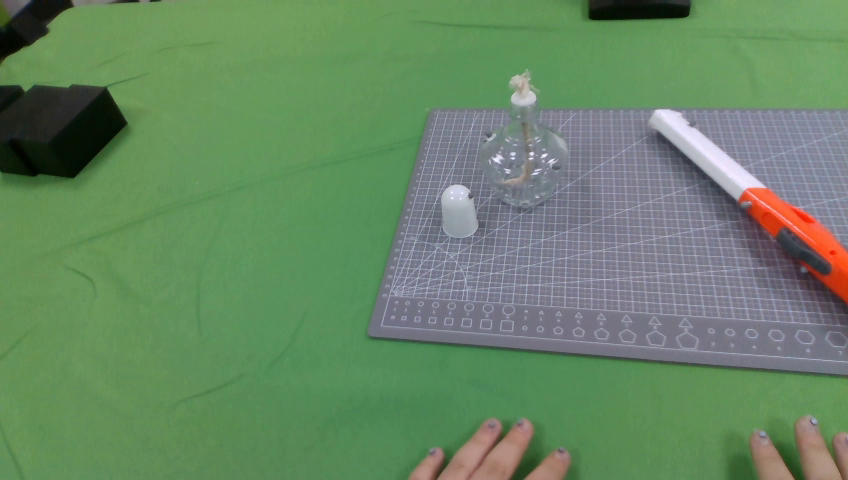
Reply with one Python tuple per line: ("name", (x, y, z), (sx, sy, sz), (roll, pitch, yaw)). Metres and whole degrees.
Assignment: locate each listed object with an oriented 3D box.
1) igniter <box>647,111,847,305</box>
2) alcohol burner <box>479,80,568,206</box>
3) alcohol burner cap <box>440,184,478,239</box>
("igniter", (0.275, -0.029, 0.492), (0.057, 0.025, 0.273), (-2, 41, -24))
("alcohol burner", (0.086, -0.087, 0.520), (0.078, 0.120, 0.077), (-3, 48, 4))
("alcohol burner cap", (0.029, -0.027, 0.524), (0.034, 0.048, 0.033), (-4, 48, 5))
